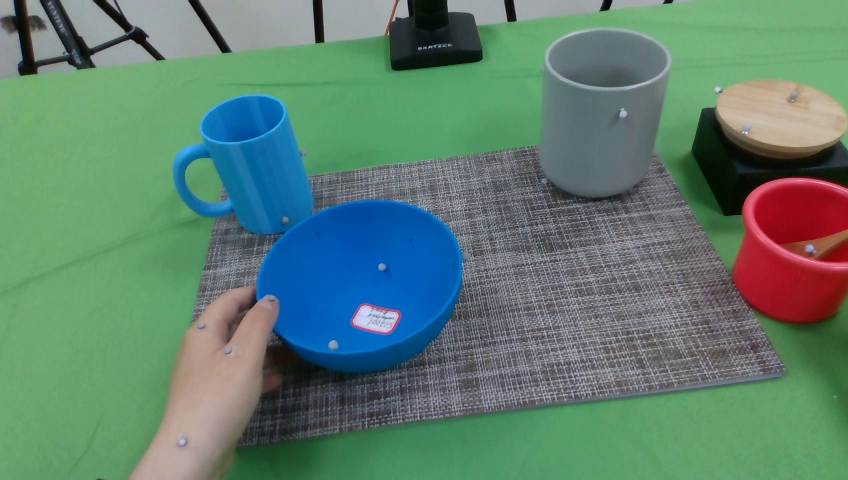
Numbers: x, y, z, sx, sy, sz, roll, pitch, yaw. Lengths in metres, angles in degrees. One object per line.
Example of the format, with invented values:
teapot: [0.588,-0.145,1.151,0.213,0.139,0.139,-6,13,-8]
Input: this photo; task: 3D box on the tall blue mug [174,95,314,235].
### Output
tall blue mug: [-0.163,-0.060,0.560,0.077,0.109,0.107,30,56,30]

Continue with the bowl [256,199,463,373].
bowl: [-0.043,0.047,0.463,0.151,0.077,0.150,-3,45,4]

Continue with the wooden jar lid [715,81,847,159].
wooden jar lid: [0.320,-0.108,0.548,0.108,0.021,0.107,-4,45,4]

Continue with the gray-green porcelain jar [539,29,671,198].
gray-green porcelain jar: [0.161,-0.111,0.559,0.106,0.128,0.105,-3,45,4]

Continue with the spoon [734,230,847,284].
spoon: [0.320,-0.006,0.430,0.022,0.193,0.041,43,47,-16]
